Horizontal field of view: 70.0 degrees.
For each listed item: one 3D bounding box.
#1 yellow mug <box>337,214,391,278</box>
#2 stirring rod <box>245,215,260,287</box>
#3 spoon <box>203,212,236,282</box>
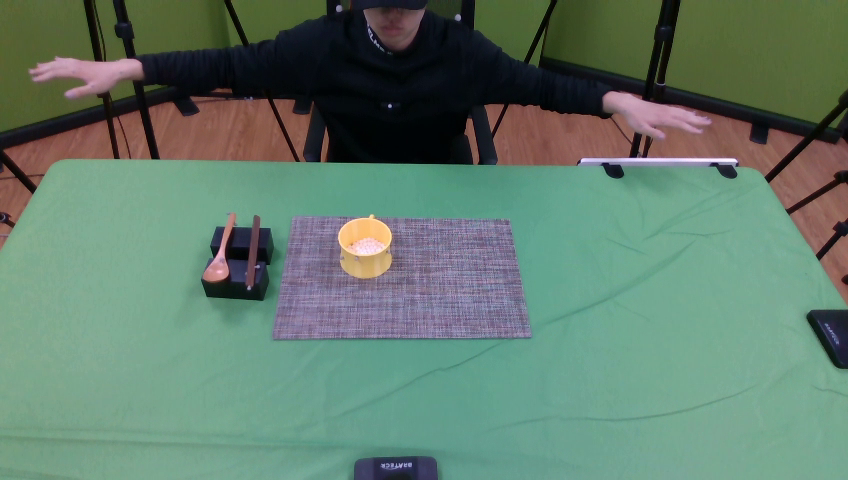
[{"bbox_3d":[-0.110,0.003,1.152,0.100,0.064,0.130,7,45,2],"label":"yellow mug"},{"bbox_3d":[-0.310,0.016,1.096,0.014,0.006,0.175,27,36,-32],"label":"stirring rod"},{"bbox_3d":[-0.361,0.009,1.097,0.041,0.022,0.192,-1,44,-2],"label":"spoon"}]
